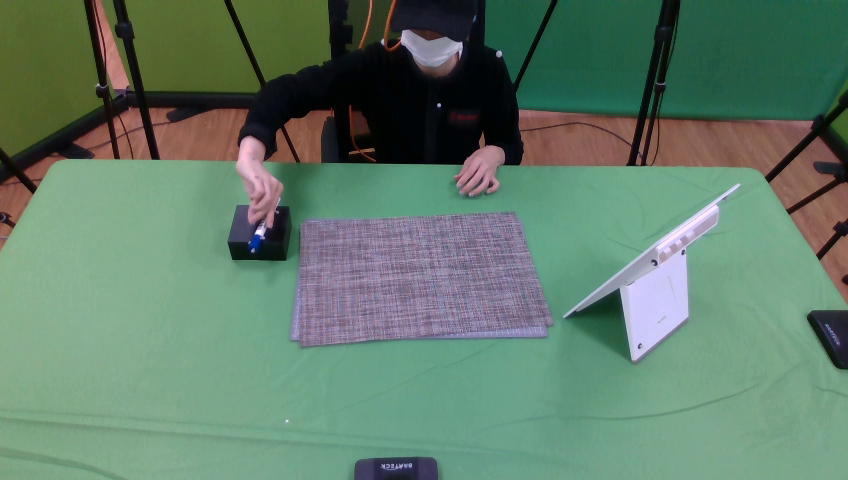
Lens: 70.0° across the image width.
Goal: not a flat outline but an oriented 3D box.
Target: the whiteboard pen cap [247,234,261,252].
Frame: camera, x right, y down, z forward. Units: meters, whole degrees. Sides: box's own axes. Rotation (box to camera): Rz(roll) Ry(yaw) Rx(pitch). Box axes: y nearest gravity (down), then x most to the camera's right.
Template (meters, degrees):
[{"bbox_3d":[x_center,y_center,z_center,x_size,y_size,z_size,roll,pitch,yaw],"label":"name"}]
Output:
[{"bbox_3d":[-0.308,0.005,1.103,0.018,0.018,0.033,8,45,3],"label":"whiteboard pen cap"}]

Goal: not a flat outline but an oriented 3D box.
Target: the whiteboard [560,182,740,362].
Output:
[{"bbox_3d":[0.406,0.075,1.001,0.217,0.306,0.143,-28,73,-28],"label":"whiteboard"}]

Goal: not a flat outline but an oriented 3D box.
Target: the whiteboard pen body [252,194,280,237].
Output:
[{"bbox_3d":[-0.301,-0.039,1.145,0.017,0.017,0.140,9,46,4],"label":"whiteboard pen body"}]
